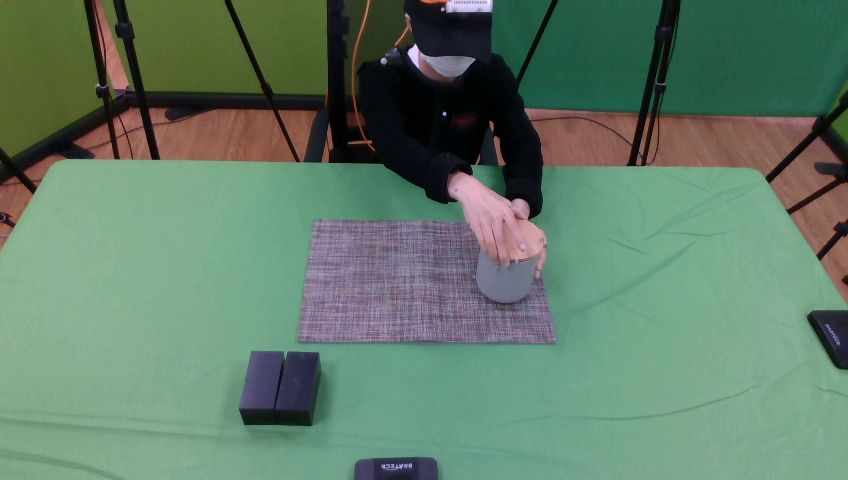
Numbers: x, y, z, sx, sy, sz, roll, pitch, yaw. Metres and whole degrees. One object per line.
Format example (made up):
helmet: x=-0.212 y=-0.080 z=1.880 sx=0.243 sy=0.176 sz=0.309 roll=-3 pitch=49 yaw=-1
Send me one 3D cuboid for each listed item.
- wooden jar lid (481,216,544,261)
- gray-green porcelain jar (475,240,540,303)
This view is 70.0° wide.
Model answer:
wooden jar lid: x=0.151 y=0.001 z=1.044 sx=0.108 sy=0.021 sz=0.107 roll=4 pitch=44 yaw=-3
gray-green porcelain jar: x=0.148 y=0.044 z=1.090 sx=0.106 sy=0.127 sz=0.105 roll=2 pitch=46 yaw=-2
